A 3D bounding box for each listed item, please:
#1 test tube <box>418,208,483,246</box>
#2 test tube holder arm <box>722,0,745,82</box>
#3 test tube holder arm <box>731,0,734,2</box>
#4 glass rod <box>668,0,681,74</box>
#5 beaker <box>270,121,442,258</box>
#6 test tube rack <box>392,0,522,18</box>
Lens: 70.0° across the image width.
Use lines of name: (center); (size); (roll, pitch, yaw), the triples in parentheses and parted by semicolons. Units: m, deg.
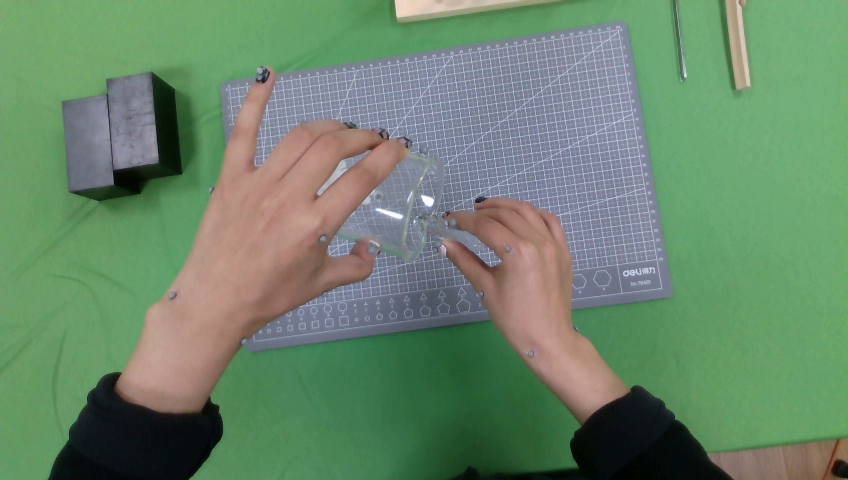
test tube: (0.027, -0.009, 0.516); (0.017, 0.151, 0.017); (-2, 83, 19)
test tube holder arm: (0.323, -0.254, 0.637); (0.013, 0.015, 0.178); (1, 84, -25)
test tube holder arm: (0.327, -0.299, 0.644); (0.010, 0.015, 0.087); (2, 84, -25)
glass rod: (0.264, -0.275, 0.651); (0.008, 0.008, 0.199); (-3, 84, 4)
beaker: (-0.046, -0.036, 0.418); (0.100, 0.084, 0.074); (18, 82, 12)
test tube rack: (0.081, -0.297, 0.628); (0.242, 0.085, 0.066); (-7, 84, 3)
